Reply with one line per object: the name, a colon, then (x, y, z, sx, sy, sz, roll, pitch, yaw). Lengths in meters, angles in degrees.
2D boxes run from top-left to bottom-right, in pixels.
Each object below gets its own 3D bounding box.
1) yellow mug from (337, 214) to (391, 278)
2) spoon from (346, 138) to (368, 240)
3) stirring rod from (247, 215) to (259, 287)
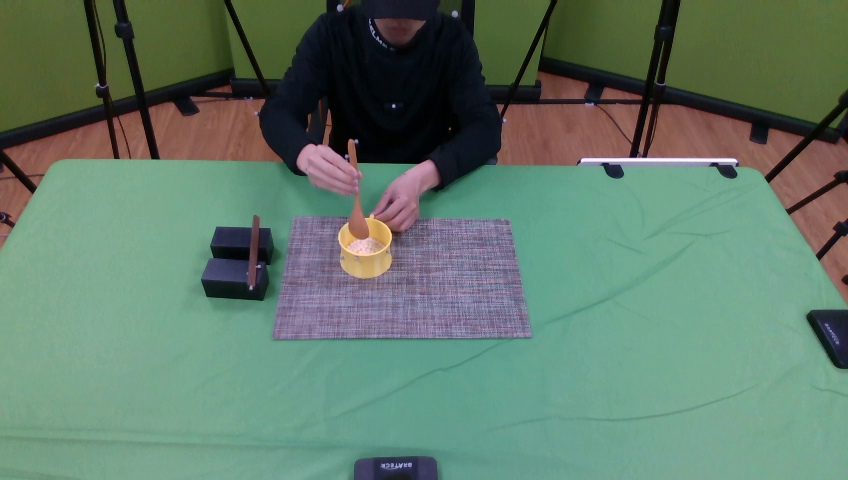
yellow mug: (-0.110, 0.003, 1.152, 0.100, 0.064, 0.130, 7, 45, 2)
spoon: (-0.123, -0.086, 1.067, 0.041, 0.194, 0.021, 8, 25, 22)
stirring rod: (-0.309, 0.016, 1.097, 0.014, 0.006, 0.175, 24, 36, -31)
